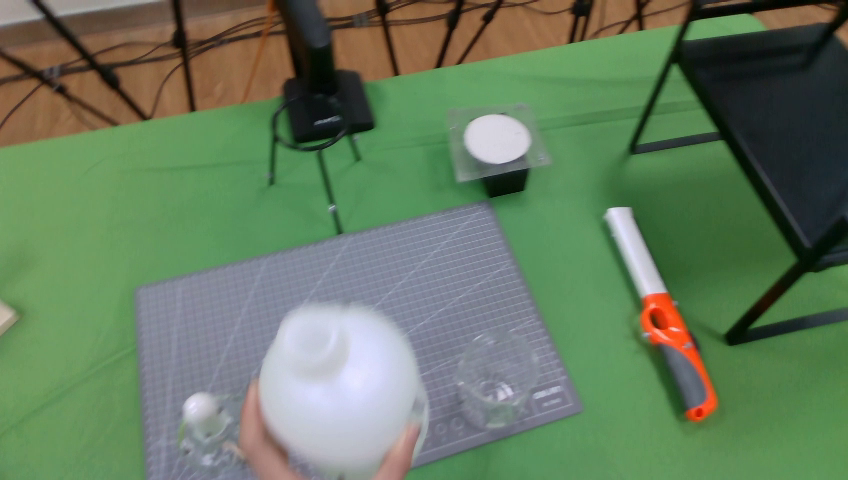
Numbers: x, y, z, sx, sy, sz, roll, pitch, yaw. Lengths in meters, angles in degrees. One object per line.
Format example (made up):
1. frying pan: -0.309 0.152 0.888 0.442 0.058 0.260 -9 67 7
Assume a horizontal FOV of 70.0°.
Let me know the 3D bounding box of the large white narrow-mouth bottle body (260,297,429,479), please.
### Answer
1. large white narrow-mouth bottle body: -0.053 0.096 0.403 0.102 0.196 0.101 -2 59 4

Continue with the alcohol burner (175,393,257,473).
1. alcohol burner: -0.202 0.178 0.580 0.078 0.120 0.077 2 55 -2

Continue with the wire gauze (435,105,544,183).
1. wire gauze: 0.083 -0.132 0.797 0.121 0.011 0.124 -8 57 -6

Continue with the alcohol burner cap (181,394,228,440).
1. alcohol burner cap: -0.202 0.159 0.550 0.034 0.048 0.033 -2 53 2

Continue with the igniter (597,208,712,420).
1. igniter: 0.267 0.076 0.713 0.057 0.025 0.273 -4 56 -16

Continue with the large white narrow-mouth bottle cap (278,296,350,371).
1. large white narrow-mouth bottle cap: -0.060 0.050 0.329 0.038 0.024 0.037 -2 59 4

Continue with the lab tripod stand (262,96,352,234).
1. lab tripod stand: -0.141 -0.098 0.755 0.148 0.132 0.147 2 57 -2

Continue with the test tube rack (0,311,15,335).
1. test tube rack: -0.563 0.141 0.616 0.066 0.086 0.241 28 60 16

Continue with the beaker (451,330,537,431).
1. beaker: 0.066 0.148 0.615 0.084 0.101 0.073 -13 57 -9
